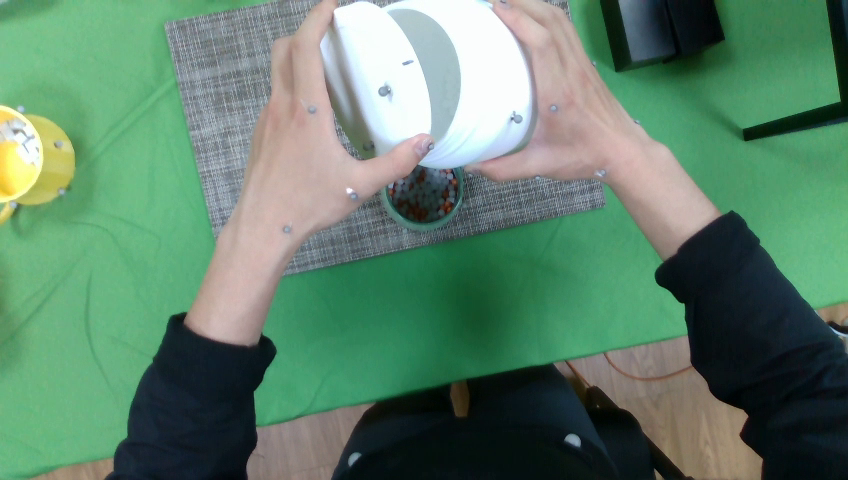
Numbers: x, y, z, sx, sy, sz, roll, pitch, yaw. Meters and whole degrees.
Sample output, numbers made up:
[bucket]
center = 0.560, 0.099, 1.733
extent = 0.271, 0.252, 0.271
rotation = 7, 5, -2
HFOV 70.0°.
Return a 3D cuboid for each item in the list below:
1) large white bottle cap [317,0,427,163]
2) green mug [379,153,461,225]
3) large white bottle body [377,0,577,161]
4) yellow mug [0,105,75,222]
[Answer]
[large white bottle cap]
center = -0.038, -0.110, 0.425
extent = 0.018, 0.114, 0.115
rotation = -29, 94, -27
[green mug]
center = -0.002, -0.078, 0.647
extent = 0.092, 0.105, 0.125
rotation = 4, 93, -2
[large white bottle body]
center = 0.033, -0.135, 0.497
extent = 0.129, 0.185, 0.131
rotation = 11, 110, 34
[yellow mug]
center = -0.447, -0.077, 0.649
extent = 0.100, 0.064, 0.131
rotation = 20, 93, -4
